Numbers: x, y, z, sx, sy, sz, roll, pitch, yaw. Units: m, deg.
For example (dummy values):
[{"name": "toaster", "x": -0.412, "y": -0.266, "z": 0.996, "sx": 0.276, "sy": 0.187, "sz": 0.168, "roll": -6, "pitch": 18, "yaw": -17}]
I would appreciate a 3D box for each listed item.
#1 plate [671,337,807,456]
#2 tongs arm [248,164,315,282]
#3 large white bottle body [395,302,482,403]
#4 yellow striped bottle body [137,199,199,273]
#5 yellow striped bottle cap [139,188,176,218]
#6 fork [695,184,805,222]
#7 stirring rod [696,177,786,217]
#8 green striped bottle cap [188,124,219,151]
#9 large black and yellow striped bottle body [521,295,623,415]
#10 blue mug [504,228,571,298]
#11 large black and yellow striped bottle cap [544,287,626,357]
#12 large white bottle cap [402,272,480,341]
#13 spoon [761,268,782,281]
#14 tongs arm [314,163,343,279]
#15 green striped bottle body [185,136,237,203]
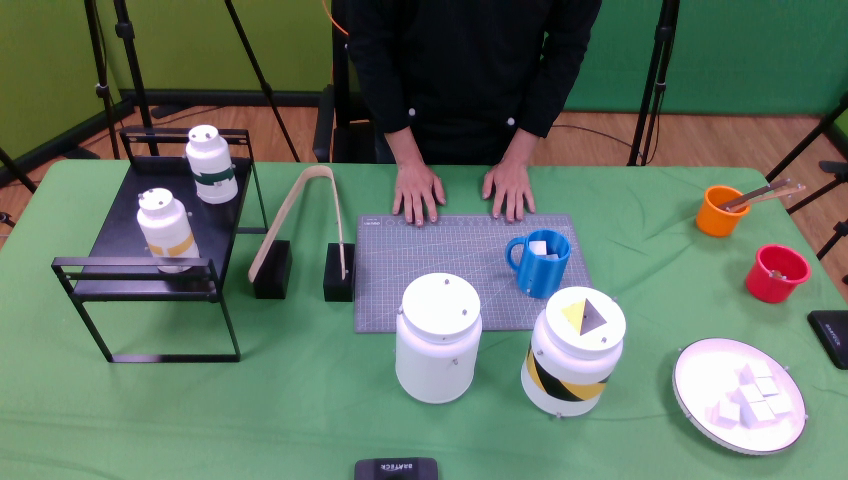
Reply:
[{"name": "plate", "x": 0.503, "y": 0.254, "z": 0.984, "sx": 0.208, "sy": 0.039, "sz": 0.206, "roll": 2, "pitch": 46, "yaw": -2}, {"name": "tongs arm", "x": -0.269, "y": -0.048, "z": 1.165, "sx": 0.028, "sy": 0.028, "sz": 0.385, "roll": 0, "pitch": 34, "yaw": 7}, {"name": "large white bottle body", "x": 0.020, "y": 0.153, "z": 0.939, "sx": 0.131, "sy": 0.185, "sz": 0.130, "roll": 2, "pitch": 46, "yaw": -2}, {"name": "yellow striped bottle body", "x": -0.366, "y": -0.014, "z": 0.863, "sx": 0.063, "sy": 0.121, "sz": 0.062, "roll": 2, "pitch": 46, "yaw": -2}, {"name": "yellow striped bottle cap", "x": -0.363, "y": -0.050, "z": 0.826, "sx": 0.044, "sy": 0.019, "sz": 0.044, "roll": 1, "pitch": 47, "yaw": -1}, {"name": "fork", "x": 0.657, "y": -0.074, "z": 1.229, "sx": 0.207, "sy": 0.019, "sz": 0.028, "roll": -24, "pitch": 33, "yaw": 36}, {"name": "stirring rod", "x": 0.647, "y": -0.087, "z": 1.244, "sx": 0.176, "sy": 0.006, "sz": 0.014, "roll": -26, "pitch": 51, "yaw": 29}, {"name": "green striped bottle cap", "x": -0.339, "y": -0.158, "z": 0.931, "sx": 0.044, "sy": 0.020, "sz": 0.044, "roll": 4, "pitch": 45, "yaw": -4}, {"name": "large black and yellow striped bottle body", "x": 0.228, "y": 0.173, "z": 0.938, "sx": 0.131, "sy": 0.185, "sz": 0.130, "roll": 2, "pitch": 47, "yaw": -2}, {"name": "blue mug", "x": 0.202, "y": 0.036, "z": 1.116, "sx": 0.116, "sy": 0.106, "sz": 0.082, "roll": 22, "pitch": 49, "yaw": 16}, {"name": "large black and yellow striped bottle cap", "x": 0.232, "y": 0.116, "z": 0.876, "sx": 0.115, "sy": 0.019, "sz": 0.114, "roll": 2, "pitch": 46, "yaw": -1}, {"name": "large white bottle cap", "x": 0.024, "y": 0.095, "z": 0.878, "sx": 0.115, "sy": 0.018, "sz": 0.114, "roll": 2, "pitch": 47, "yaw": -2}, {"name": "spoon", "x": 0.638, "y": 0.060, "z": 1.105, "sx": 0.041, "sy": 0.021, "sz": 0.194, "roll": 38, "pitch": 11, "yaw": 24}, {"name": "tongs arm", "x": -0.187, "y": -0.049, "z": 1.170, "sx": 0.051, "sy": 0.026, "sz": 0.382, "roll": -5, "pitch": 35, "yaw": -6}, {"name": "green striped bottle body", "x": -0.341, "y": -0.122, "z": 0.969, "sx": 0.063, "sy": 0.120, "sz": 0.063, "roll": 2, "pitch": 46, "yaw": -2}]
